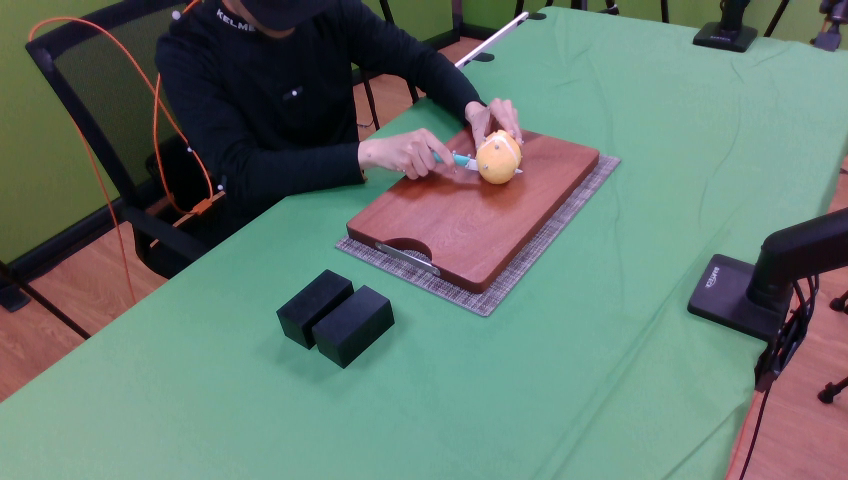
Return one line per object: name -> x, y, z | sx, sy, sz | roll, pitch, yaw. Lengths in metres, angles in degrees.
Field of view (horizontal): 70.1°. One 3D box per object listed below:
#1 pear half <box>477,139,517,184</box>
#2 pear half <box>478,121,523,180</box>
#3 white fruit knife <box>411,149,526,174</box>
pear half -> 0.119, -0.124, 1.002 | 0.070, 0.088, 0.031 | 9, 50, 12
pear half -> 0.130, -0.158, 1.023 | 0.076, 0.110, 0.056 | 8, 43, 12
white fruit knife -> 0.073, -0.134, 1.037 | 0.206, 0.027, 0.016 | 10, 47, 17
